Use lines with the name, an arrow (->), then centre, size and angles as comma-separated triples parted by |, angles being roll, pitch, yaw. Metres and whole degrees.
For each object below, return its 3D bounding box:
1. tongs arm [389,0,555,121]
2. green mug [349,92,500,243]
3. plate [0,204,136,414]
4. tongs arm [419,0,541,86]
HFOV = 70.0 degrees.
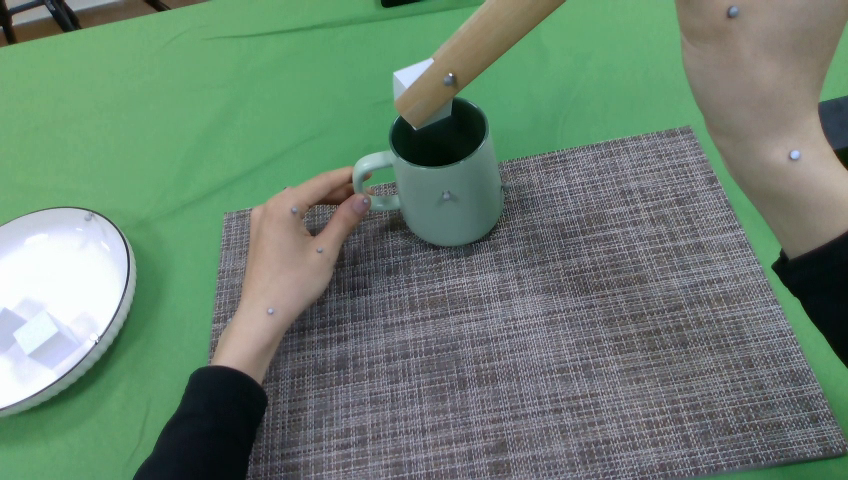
tongs arm -> 0.081, -0.143, 0.271 | 0.028, 0.387, 0.028 | 48, 57, -10
green mug -> 0.000, -0.054, 0.507 | 0.125, 0.106, 0.091 | -11, 56, 3
plate -> -0.354, 0.060, 0.541 | 0.209, 0.038, 0.207 | -4, 56, 7
tongs arm -> 0.095, -0.163, 0.286 | 0.026, 0.384, 0.050 | 45, 55, -12
